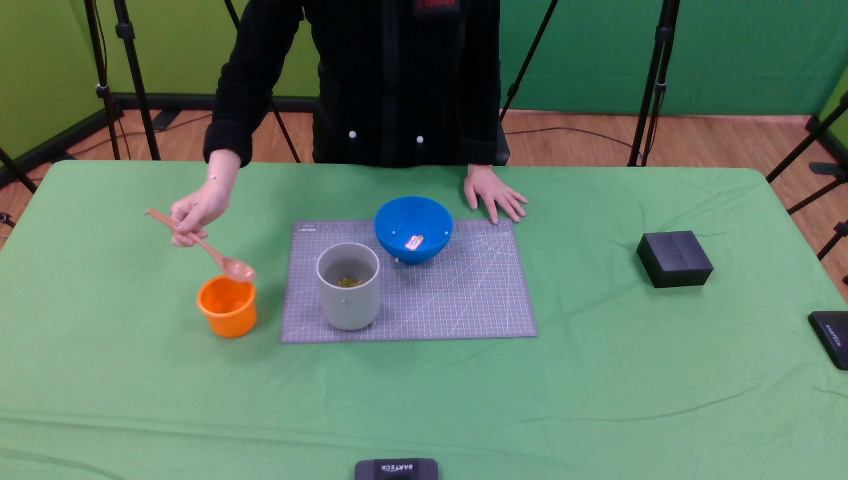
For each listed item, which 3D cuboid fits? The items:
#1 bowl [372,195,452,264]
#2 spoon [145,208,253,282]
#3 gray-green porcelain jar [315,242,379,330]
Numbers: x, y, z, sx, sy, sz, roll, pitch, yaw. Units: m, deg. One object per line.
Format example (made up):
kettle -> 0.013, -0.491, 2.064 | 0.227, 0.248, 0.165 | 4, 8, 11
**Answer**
bowl -> -0.023, -0.008, 1.161 | 0.151, 0.077, 0.150 | 2, 46, -2
spoon -> -0.359, 0.006, 0.973 | 0.194, 0.021, 0.041 | 41, 39, -18
gray-green porcelain jar -> -0.129, 0.084, 1.031 | 0.106, 0.127, 0.105 | 2, 46, -2
